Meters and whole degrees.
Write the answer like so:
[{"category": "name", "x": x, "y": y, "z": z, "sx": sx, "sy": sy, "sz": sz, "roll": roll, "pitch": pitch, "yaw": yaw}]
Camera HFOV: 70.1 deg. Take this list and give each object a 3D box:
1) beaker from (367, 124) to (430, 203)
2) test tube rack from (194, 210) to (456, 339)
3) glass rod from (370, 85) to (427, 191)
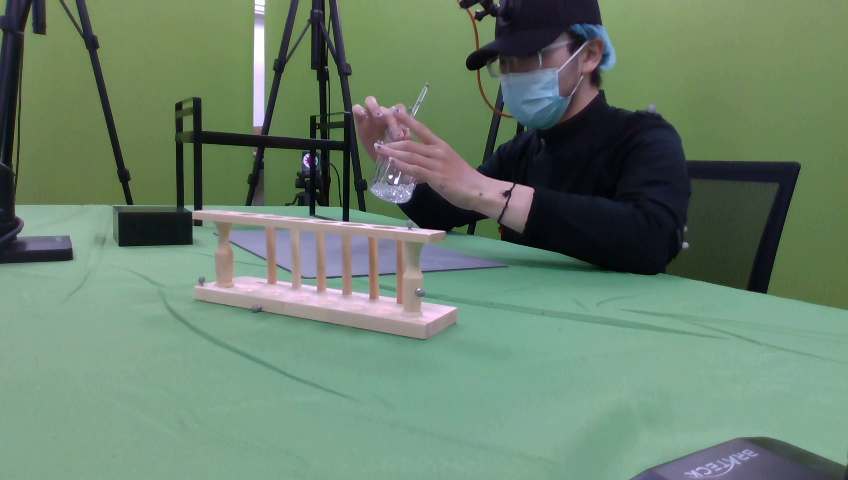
[{"category": "beaker", "x": -0.038, "y": -0.114, "z": 0.916, "sx": 0.074, "sy": 0.100, "sz": 0.083, "roll": 25, "pitch": -19, "yaw": -21}, {"category": "test tube rack", "x": -0.093, "y": 0.023, "z": 0.546, "sx": 0.241, "sy": 0.085, "sz": 0.067, "roll": 6, "pitch": 8, "yaw": 25}, {"category": "glass rod", "x": -0.039, "y": -0.161, "z": 0.948, "sx": 0.008, "sy": 0.199, "sz": 0.008, "roll": 24, "pitch": -15, "yaw": 7}]
